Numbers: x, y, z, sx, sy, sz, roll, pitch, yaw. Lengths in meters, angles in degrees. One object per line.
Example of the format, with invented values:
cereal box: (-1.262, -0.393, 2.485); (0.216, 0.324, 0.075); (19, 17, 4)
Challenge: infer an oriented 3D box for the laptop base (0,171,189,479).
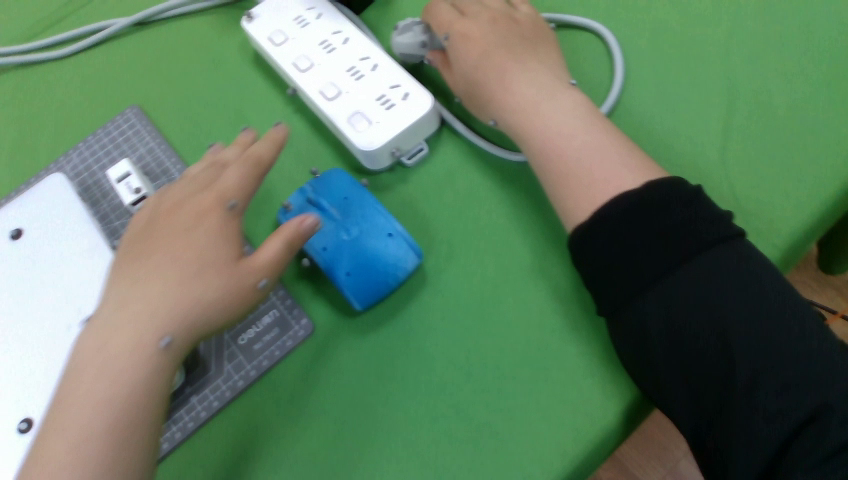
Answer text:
laptop base: (-0.357, 0.126, 0.430); (0.354, 0.023, 0.233); (-40, 65, -9)

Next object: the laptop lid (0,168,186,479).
laptop lid: (-0.358, 0.122, 0.419); (0.356, 0.013, 0.239); (-38, 64, -8)

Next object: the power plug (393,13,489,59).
power plug: (0.010, -0.167, 0.499); (0.073, 0.035, 0.052); (-5, 32, -20)

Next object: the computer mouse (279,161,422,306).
computer mouse: (-0.056, -0.010, 0.422); (0.063, 0.041, 0.116); (-41, 57, -6)

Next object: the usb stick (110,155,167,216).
usb stick: (-0.231, -0.048, 0.485); (0.021, 0.027, 0.058); (-38, 59, -6)

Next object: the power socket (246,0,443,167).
power socket: (-0.070, -0.145, 0.497); (0.072, 0.033, 0.224); (-38, 61, -7)
